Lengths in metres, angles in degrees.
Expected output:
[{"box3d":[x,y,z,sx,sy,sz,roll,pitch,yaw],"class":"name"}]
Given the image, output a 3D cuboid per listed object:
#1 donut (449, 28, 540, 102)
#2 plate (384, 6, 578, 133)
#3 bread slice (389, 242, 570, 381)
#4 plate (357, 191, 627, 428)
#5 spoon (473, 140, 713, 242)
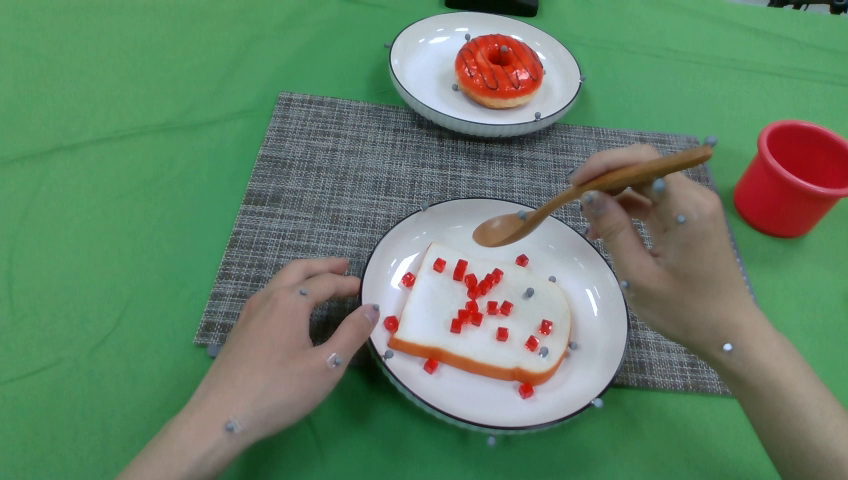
[{"box3d":[0.076,-0.187,0.648,0.099,0.048,0.098,4,53,-5],"class":"donut"},{"box3d":[0.060,-0.182,0.658,0.208,0.039,0.205,4,50,-4],"class":"plate"},{"box3d":[0.049,0.054,0.477,0.131,0.019,0.104,14,52,7],"class":"bread slice"},{"box3d":[0.051,0.049,0.476,0.209,0.038,0.207,3,52,-4],"class":"plate"},{"box3d":[0.091,-0.027,0.377,0.041,0.193,0.022,-40,97,-30],"class":"spoon"}]
